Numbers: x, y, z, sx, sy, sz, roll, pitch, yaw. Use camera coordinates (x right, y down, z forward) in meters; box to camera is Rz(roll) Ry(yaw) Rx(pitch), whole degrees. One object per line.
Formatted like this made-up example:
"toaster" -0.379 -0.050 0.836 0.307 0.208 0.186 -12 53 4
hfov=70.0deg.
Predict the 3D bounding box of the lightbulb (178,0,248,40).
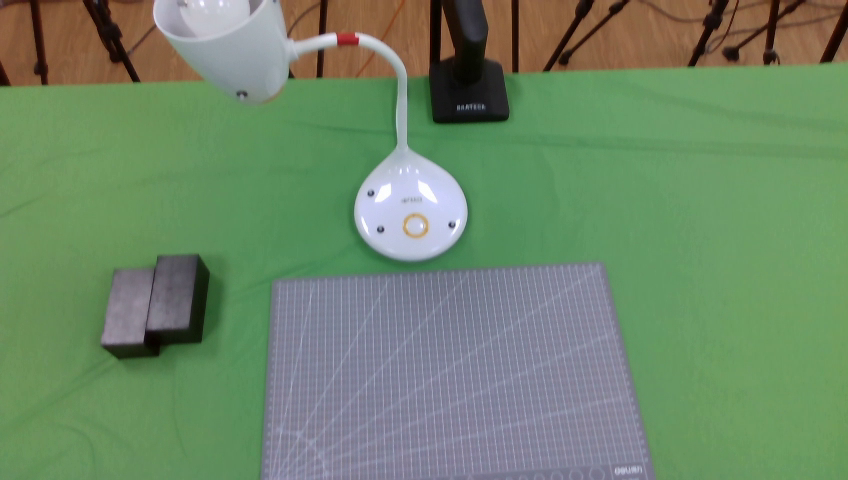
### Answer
"lightbulb" -0.187 -0.199 0.569 0.059 0.108 0.059 -2 67 6

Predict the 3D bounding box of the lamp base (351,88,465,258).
"lamp base" -0.024 -0.094 0.791 0.161 0.181 0.177 -15 60 -10

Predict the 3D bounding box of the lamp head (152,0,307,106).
"lamp head" -0.179 -0.193 0.592 0.112 0.124 0.111 -6 63 12
